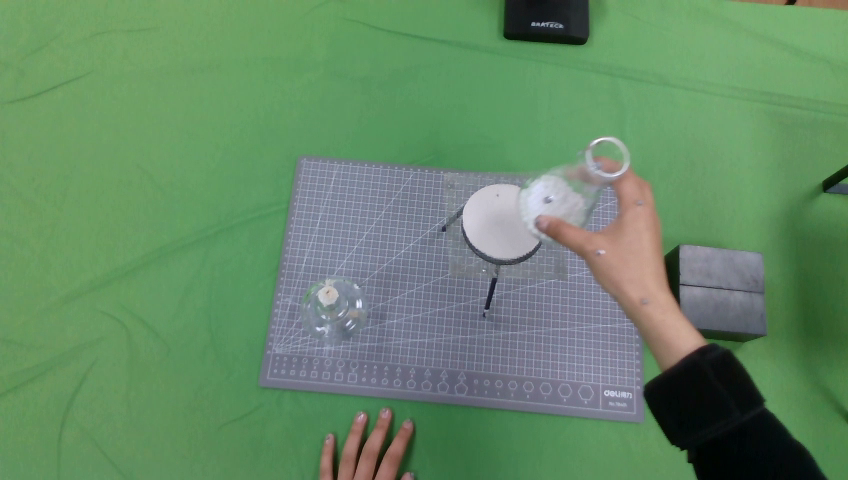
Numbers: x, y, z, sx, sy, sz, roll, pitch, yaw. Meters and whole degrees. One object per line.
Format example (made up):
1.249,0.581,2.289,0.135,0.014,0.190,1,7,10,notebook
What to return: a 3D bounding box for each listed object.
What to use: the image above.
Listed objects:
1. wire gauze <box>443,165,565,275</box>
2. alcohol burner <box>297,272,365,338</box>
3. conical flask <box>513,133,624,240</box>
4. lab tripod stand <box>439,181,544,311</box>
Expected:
0.083,-0.022,0.633,0.125,0.011,0.120,0,73,-3,wire gauze
-0.105,0.068,0.679,0.078,0.120,0.077,1,70,-2,alcohol burner
0.131,-0.051,0.537,0.075,0.122,0.075,3,72,-10,conical flask
0.083,-0.004,0.697,0.148,0.132,0.147,1,70,-2,lab tripod stand
